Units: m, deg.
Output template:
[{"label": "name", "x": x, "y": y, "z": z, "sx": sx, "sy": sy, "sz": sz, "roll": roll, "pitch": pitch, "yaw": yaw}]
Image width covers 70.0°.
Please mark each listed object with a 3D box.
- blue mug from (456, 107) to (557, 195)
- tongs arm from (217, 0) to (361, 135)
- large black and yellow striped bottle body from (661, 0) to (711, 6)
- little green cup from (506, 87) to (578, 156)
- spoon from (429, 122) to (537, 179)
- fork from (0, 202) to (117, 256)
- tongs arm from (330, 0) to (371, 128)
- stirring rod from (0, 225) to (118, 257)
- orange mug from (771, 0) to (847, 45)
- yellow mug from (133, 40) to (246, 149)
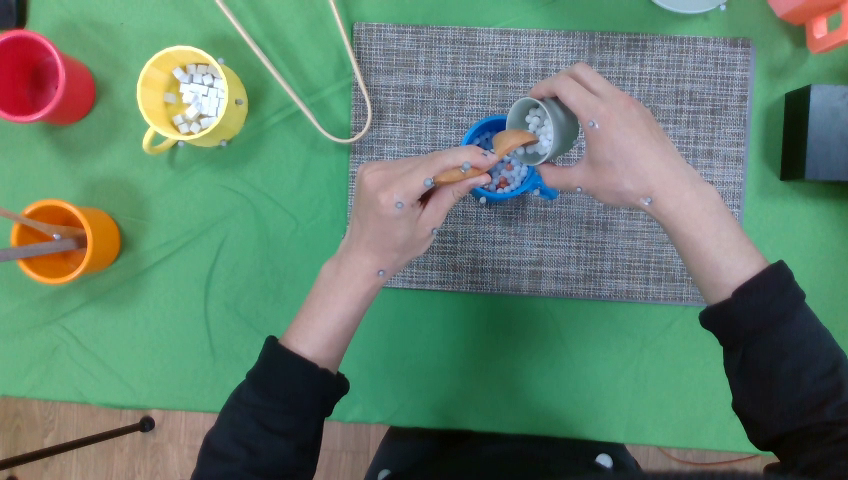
[{"label": "blue mug", "x": 0.090, "y": -0.083, "z": 0.645, "sx": 0.116, "sy": 0.106, "sz": 0.082, "roll": 31, "pitch": 94, "yaw": 0}, {"label": "tongs arm", "x": -0.202, "y": -0.268, "z": 0.659, "sx": 0.051, "sy": 0.026, "sz": 0.386, "roll": -36, "pitch": 99, "yaw": 0}, {"label": "large black and yellow striped bottle body", "x": 0.288, "y": -0.321, "z": 0.589, "sx": 0.131, "sy": 0.184, "sz": 0.131, "roll": 0, "pitch": 93, "yaw": 2}, {"label": "little green cup", "x": 0.110, "y": -0.109, "z": 0.555, "sx": 0.039, "sy": 0.061, "sz": 0.061, "roll": -13, "pitch": 93, "yaw": -37}, {"label": "spoon", "x": 0.050, "y": -0.071, "z": 0.482, "sx": 0.041, "sy": 0.193, "sz": 0.022, "roll": 6, "pitch": 114, "yaw": 24}, {"label": "fork", "x": -0.433, "y": -0.030, "z": 0.644, "sx": 0.209, "sy": 0.018, "sz": 0.028, "roll": 31, "pitch": 89, "yaw": -43}, {"label": "tongs arm", "x": -0.130, "y": -0.310, "z": 0.657, "sx": 0.028, "sy": 0.027, "sz": 0.388, "roll": -22, "pitch": 99, "yaw": -5}, {"label": "stirring rod", "x": -0.426, "y": 0.005, "z": 0.653, "sx": 0.177, "sy": 0.006, "sz": 0.014, "roll": -14, "pitch": 89, "yaw": -39}, {"label": "orange mug", "x": 0.424, "y": -0.274, "z": 0.631, "sx": 0.083, "sy": 0.101, "sz": 0.126, "roll": -7, "pitch": 89, "yaw": 3}, {"label": "yellow mug", "x": -0.268, "y": -0.152, "z": 0.674, "sx": 0.100, "sy": 0.064, "sz": 0.131, "roll": 42, "pitch": 95, "yaw": -1}]
